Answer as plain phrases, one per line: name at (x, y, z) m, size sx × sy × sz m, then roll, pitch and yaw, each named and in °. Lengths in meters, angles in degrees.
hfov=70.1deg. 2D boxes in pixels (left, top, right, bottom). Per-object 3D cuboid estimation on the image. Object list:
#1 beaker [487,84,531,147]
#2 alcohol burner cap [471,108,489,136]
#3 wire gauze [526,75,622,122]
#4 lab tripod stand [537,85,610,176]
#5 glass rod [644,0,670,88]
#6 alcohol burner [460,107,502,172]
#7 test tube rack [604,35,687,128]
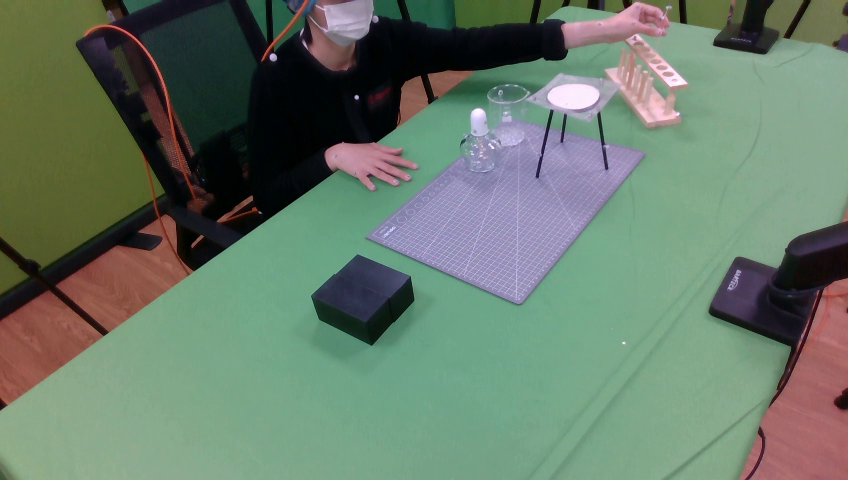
beaker at (0.164, -0.237, 1.161) m, size 0.084 × 0.101 × 0.073 m, roll -10°, pitch 41°, yaw -3°
alcohol burner cap at (0.098, -0.211, 1.074) m, size 0.034 × 0.048 × 0.033 m, roll -6°, pitch 42°, yaw 6°
wire gauze at (0.255, -0.248, 1.030) m, size 0.124 × 0.011 × 0.122 m, roll 24°, pitch 51°, yaw 32°
lab tripod stand at (0.259, -0.192, 1.068) m, size 0.148 × 0.132 × 0.147 m, roll -4°, pitch 43°, yaw 4°
glass rod at (0.465, -0.394, 1.211) m, size 0.008 × 0.200 × 0.008 m, roll 1°, pitch 41°, yaw -1°
alcohol burner at (0.102, -0.185, 1.098) m, size 0.078 × 0.119 × 0.077 m, roll -6°, pitch 40°, yaw 5°
test tube rack at (0.447, -0.330, 1.241) m, size 0.067 × 0.085 × 0.241 m, roll -9°, pitch 41°, yaw -2°
